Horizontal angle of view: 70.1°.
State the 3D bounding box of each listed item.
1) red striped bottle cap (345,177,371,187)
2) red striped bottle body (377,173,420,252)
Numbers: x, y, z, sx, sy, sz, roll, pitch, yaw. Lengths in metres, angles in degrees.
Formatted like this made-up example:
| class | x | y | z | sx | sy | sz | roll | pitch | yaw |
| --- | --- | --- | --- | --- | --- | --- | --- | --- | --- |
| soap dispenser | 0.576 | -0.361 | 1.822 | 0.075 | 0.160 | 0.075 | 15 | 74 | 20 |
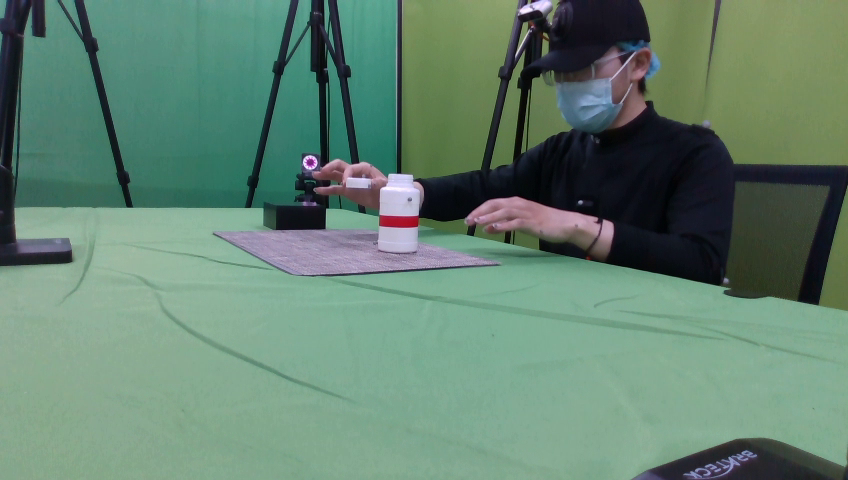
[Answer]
| class | x | y | z | sx | sy | sz | roll | pitch | yaw |
| --- | --- | --- | --- | --- | --- | --- | --- | --- | --- |
| red striped bottle cap | -0.115 | -0.100 | 1.048 | 0.044 | 0.017 | 0.044 | 2 | 6 | 0 |
| red striped bottle body | -0.039 | -0.044 | 0.936 | 0.063 | 0.119 | 0.063 | 3 | 7 | 0 |
